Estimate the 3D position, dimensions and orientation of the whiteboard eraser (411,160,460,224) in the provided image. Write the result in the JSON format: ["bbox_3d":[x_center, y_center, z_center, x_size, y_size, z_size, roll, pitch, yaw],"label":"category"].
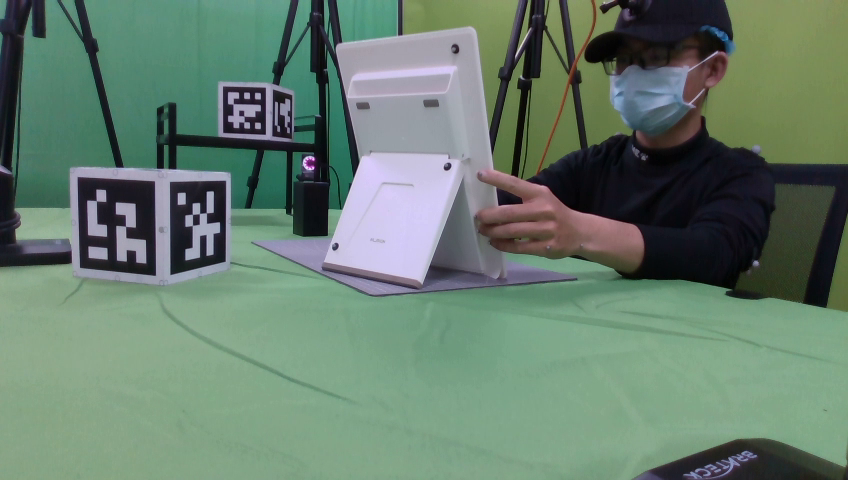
[{"bbox_3d":[0.015,-0.061,0.785,0.041,0.101,0.019,41,45,11],"label":"whiteboard eraser"}]

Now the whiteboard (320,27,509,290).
[{"bbox_3d":[-0.046,-0.076,0.721,0.216,0.305,0.144,9,29,39],"label":"whiteboard"}]
